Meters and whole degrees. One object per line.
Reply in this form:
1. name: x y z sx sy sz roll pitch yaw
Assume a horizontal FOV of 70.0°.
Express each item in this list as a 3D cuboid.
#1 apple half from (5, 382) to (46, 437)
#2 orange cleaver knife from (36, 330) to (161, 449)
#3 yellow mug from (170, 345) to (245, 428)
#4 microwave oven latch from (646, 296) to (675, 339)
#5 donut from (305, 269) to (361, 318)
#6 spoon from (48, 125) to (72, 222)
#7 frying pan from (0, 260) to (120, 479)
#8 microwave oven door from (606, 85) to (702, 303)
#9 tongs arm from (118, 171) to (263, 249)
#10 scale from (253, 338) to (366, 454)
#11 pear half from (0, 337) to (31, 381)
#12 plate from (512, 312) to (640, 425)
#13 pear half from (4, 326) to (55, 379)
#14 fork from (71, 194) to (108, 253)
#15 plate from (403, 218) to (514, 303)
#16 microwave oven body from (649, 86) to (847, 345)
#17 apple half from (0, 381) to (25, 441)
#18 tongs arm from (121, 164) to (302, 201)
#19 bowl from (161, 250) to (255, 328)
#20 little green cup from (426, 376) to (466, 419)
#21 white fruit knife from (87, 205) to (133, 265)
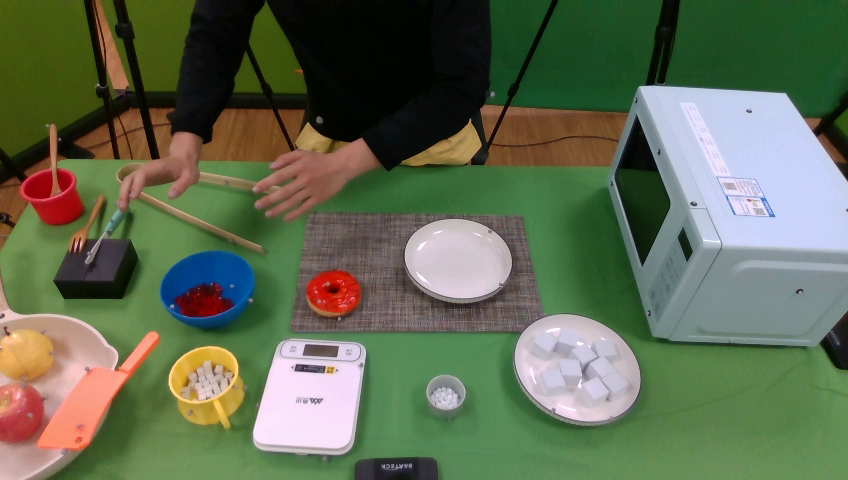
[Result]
1. apple half: -0.567 0.244 0.877 0.033 0.082 0.080 -9 47 -6
2. orange cleaver knife: -0.466 0.210 0.880 0.077 0.012 0.210 15 46 9
3. yellow mug: -0.322 0.230 0.922 0.100 0.064 0.130 -24 53 -25
4. microwave oven latch: 0.412 0.134 1.061 0.030 0.029 0.078 4 45 1
5. donut: -0.160 0.094 1.075 0.099 0.048 0.098 3 45 -3
6. spoon: -0.718 -0.131 1.189 0.041 0.021 0.193 -3 90 -7
7. frying pan: -0.647 0.164 0.936 0.307 0.103 0.485 -19 58 -22
8. microwave oven door: 0.422 -0.094 1.140 0.039 0.245 0.353 2 46 -1
9. tongs arm: -0.473 -0.060 1.207 0.386 0.028 0.028 22 52 19
10. scale: -0.175 0.236 0.951 0.149 0.032 0.199 4 46 0
11. pear half: -0.632 0.185 0.920 0.070 0.088 0.031 30 49 20
12. plate: 0.246 0.213 0.999 0.208 0.039 0.206 2 46 -2
13. pear half: -0.609 0.159 0.933 0.076 0.110 0.056 32 52 20
14. fork: -0.634 -0.035 1.158 0.028 0.019 0.206 -12 32 -4
15. plate: 0.064 0.042 1.146 0.209 0.038 0.208 2 46 -2
16. microwave oven body: 0.568 -0.053 1.118 0.326 0.261 0.439 2 45 -1
17. apple half: -0.605 0.250 0.871 0.053 0.075 0.080 -9 51 -7
18. tongs arm: -0.444 -0.114 1.266 0.384 0.026 0.050 12 46 9
19. bowl: -0.362 0.097 1.040 0.151 0.077 0.150 2 46 -2
20. little green cup: 0.033 0.248 0.950 0.061 0.039 0.061 2 46 -2
21. white fruit knife: -0.584 -0.013 1.129 0.016 0.027 0.206 0 31 -5
